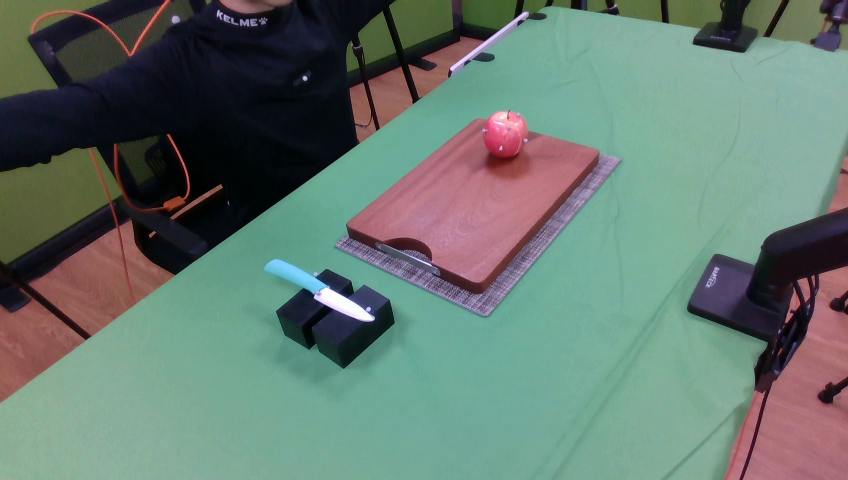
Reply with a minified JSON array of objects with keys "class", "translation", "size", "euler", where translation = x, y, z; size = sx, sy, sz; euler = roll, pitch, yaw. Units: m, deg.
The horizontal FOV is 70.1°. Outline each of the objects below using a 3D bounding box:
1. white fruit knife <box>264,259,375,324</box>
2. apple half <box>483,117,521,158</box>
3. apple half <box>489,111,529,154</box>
[{"class":"white fruit knife","translation":[-0.147,0.070,0.839],"size":[0.206,0.016,0.027],"euler":[24,79,29]},{"class":"apple half","translation":[0.131,-0.175,1.069],"size":[0.080,0.081,0.033],"euler":[24,47,32]},{"class":"apple half","translation":[0.156,-0.197,1.091],"size":[0.080,0.075,0.053],"euler":[21,44,34]}]
